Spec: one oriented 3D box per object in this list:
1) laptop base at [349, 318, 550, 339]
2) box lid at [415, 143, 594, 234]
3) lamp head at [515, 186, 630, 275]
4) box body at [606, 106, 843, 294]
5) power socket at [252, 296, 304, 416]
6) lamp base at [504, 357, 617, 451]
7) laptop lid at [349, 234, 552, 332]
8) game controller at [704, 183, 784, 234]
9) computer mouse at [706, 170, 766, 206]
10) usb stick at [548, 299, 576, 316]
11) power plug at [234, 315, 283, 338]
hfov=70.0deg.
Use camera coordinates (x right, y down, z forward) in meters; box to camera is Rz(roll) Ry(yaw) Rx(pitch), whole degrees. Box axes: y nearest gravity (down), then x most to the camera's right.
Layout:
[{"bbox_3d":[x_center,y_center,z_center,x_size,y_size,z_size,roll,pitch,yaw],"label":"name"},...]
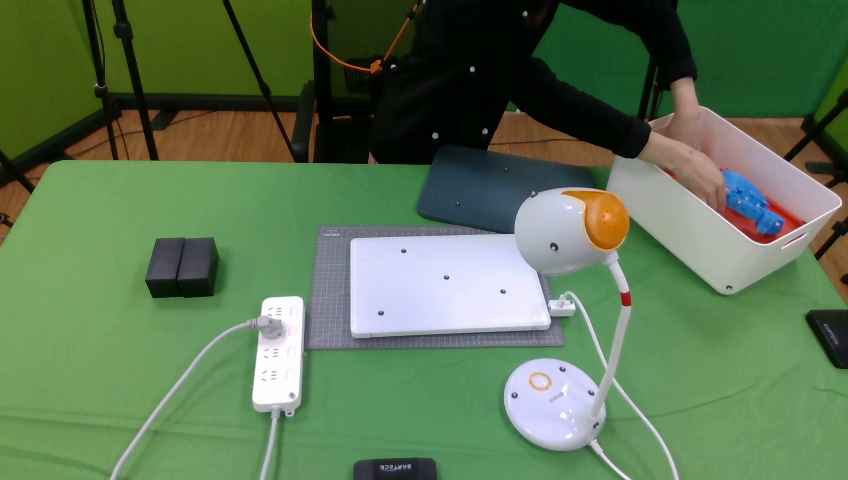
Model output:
[{"bbox_3d":[0.039,0.081,1.125,0.355,0.023,0.234,-2,43,-6],"label":"laptop base"},{"bbox_3d":[0.185,-0.105,1.322,0.371,0.015,0.262,11,46,7],"label":"box lid"},{"bbox_3d":[0.188,-0.013,0.728,0.112,0.112,0.122,-25,9,-25],"label":"lamp head"},{"bbox_3d":[0.582,-0.088,1.230,0.254,0.161,0.361,-22,52,-23],"label":"box body"},{"bbox_3d":[-0.238,0.181,0.997,0.072,0.033,0.225,-3,47,-5],"label":"power socket"},{"bbox_3d":[0.220,0.211,0.903,0.160,0.181,0.178,-33,59,-30],"label":"lamp base"},{"bbox_3d":[0.040,0.071,1.118,0.357,0.013,0.240,0,44,-5],"label":"laptop lid"},{"bbox_3d":[0.611,-0.064,1.158,0.154,0.052,0.097,34,26,23],"label":"game controller"},{"bbox_3d":[0.635,-0.101,1.228,0.063,0.041,0.116,-30,61,-31],"label":"computer mouse"},{"bbox_3d":[0.239,0.121,1.084,0.059,0.027,0.021,-1,51,-1],"label":"usb stick"},{"bbox_3d":[-0.269,0.143,1.000,0.072,0.053,0.035,4,47,3],"label":"power plug"}]
